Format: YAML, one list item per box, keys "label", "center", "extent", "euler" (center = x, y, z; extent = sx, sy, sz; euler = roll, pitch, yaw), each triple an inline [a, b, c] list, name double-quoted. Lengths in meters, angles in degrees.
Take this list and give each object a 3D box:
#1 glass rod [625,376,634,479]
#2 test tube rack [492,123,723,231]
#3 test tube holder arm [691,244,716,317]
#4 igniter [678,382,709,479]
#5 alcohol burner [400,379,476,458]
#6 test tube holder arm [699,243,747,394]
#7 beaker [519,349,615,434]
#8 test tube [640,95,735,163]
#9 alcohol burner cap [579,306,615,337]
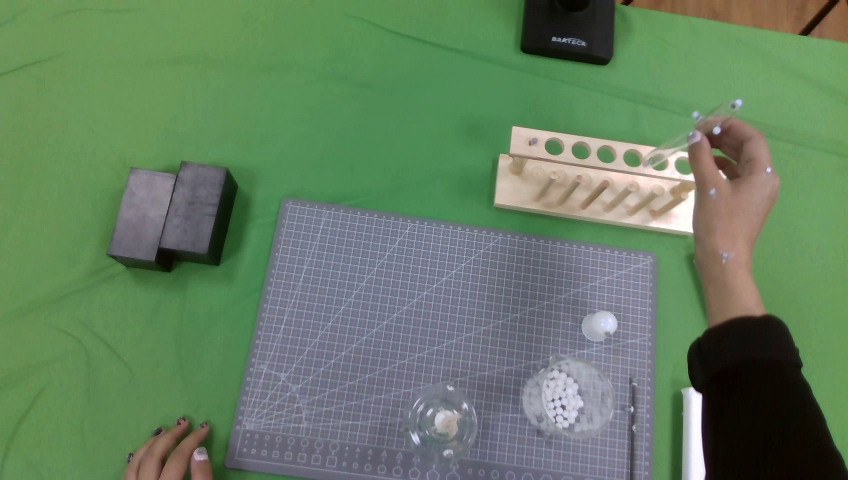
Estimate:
- label: "glass rod"
  center: [0.220, 0.248, 0.654]
  extent: [0.008, 0.008, 0.198]
  euler: [8, 74, -3]
- label: "test tube rack"
  center: [0.208, -0.070, 0.705]
  extent: [0.242, 0.085, 0.066]
  euler: [8, 74, -2]
- label: "test tube holder arm"
  center: [0.333, 0.048, 0.718]
  extent: [0.010, 0.015, 0.087]
  euler: [-17, 75, 26]
- label: "igniter"
  center: [0.282, 0.291, 0.641]
  extent: [0.057, 0.025, 0.275]
  euler: [12, 74, -12]
- label: "alcohol burner"
  center: [0.016, 0.177, 0.602]
  extent: [0.078, 0.119, 0.077]
  euler: [1, 72, -4]
- label: "test tube holder arm"
  center: [0.346, 0.090, 0.705]
  extent: [0.013, 0.015, 0.177]
  euler: [-18, 74, 25]
- label: "beaker"
  center: [0.140, 0.157, 0.626]
  extent: [0.074, 0.100, 0.083]
  euler: [-23, 76, -11]
- label: "test tube"
  center: [0.242, -0.100, 0.571]
  extent: [0.017, 0.150, 0.017]
  euler: [1, 80, -6]
- label: "alcohol burner cap"
  center: [0.196, 0.090, 0.679]
  extent: [0.034, 0.048, 0.033]
  euler: [1, 75, -4]
